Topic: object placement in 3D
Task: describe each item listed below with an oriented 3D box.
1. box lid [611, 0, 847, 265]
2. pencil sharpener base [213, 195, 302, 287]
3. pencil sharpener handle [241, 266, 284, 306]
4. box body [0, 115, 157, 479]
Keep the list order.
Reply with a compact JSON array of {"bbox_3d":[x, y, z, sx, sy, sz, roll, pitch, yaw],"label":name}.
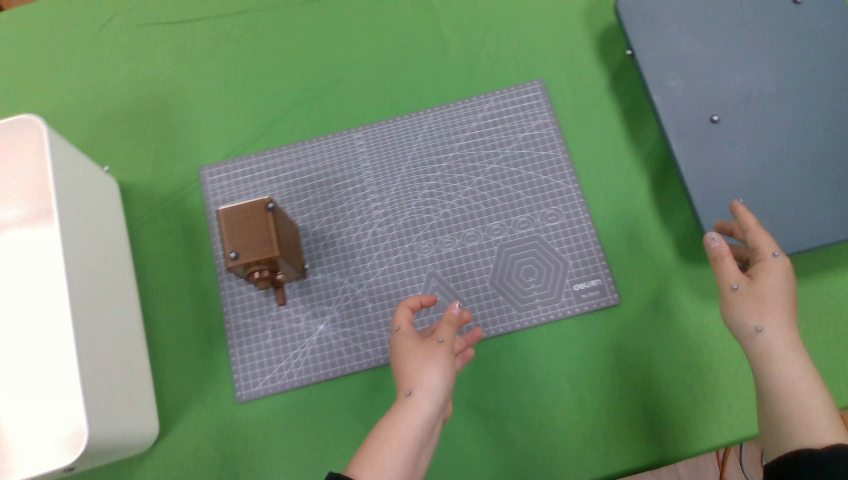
[{"bbox_3d":[0.391,-0.171,0.696,0.263,0.015,0.369,-14,74,-1],"label":"box lid"},{"bbox_3d":[-0.182,0.008,0.675,0.061,0.107,0.076,-14,74,-1],"label":"pencil sharpener base"},{"bbox_3d":[-0.168,0.051,0.650,0.036,0.068,0.030,-16,74,7],"label":"pencil sharpener handle"},{"bbox_3d":[-0.458,0.086,0.646,0.254,0.161,0.361,-17,74,-2],"label":"box body"}]
